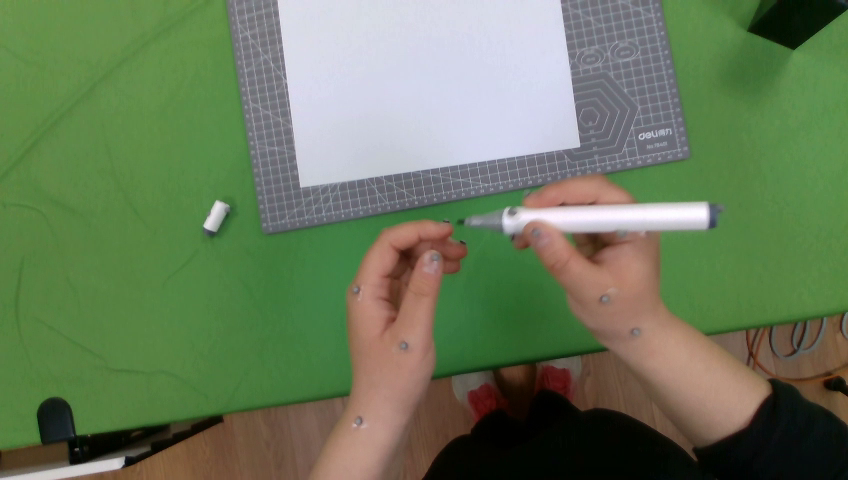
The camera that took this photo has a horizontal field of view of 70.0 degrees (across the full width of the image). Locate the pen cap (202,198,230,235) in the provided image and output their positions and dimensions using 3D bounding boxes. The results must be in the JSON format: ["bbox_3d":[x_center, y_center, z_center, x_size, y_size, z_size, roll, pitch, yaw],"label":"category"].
[{"bbox_3d":[-0.225,-0.025,0.652,0.017,0.017,0.038,28,92,7],"label":"pen cap"}]

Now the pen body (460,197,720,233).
[{"bbox_3d":[0.090,-0.013,0.347,0.143,0.017,0.017,-1,88,18],"label":"pen body"}]
